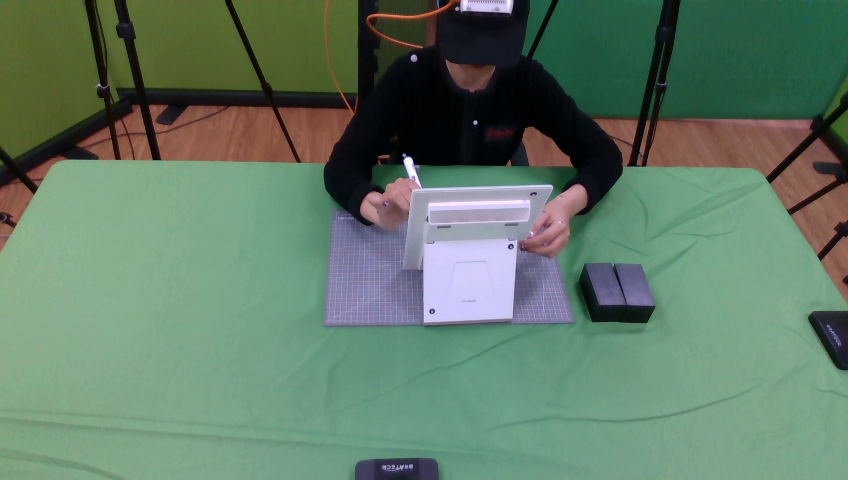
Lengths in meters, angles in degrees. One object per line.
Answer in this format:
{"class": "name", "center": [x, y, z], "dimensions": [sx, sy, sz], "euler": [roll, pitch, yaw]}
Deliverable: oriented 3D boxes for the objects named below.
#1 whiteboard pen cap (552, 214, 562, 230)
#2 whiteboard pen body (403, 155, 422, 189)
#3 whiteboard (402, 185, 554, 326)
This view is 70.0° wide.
{"class": "whiteboard pen cap", "center": [0.276, -0.037, 1.260], "dimensions": [0.018, 0.018, 0.033], "euler": [2, 44, -2]}
{"class": "whiteboard pen body", "center": [-0.012, -0.089, 1.019], "dimensions": [0.017, 0.017, 0.140], "euler": [-11, 57, -14]}
{"class": "whiteboard", "center": [0.081, 0.044, 1.005], "dimensions": [0.217, 0.306, 0.143], "euler": [-1, 66, -6]}
